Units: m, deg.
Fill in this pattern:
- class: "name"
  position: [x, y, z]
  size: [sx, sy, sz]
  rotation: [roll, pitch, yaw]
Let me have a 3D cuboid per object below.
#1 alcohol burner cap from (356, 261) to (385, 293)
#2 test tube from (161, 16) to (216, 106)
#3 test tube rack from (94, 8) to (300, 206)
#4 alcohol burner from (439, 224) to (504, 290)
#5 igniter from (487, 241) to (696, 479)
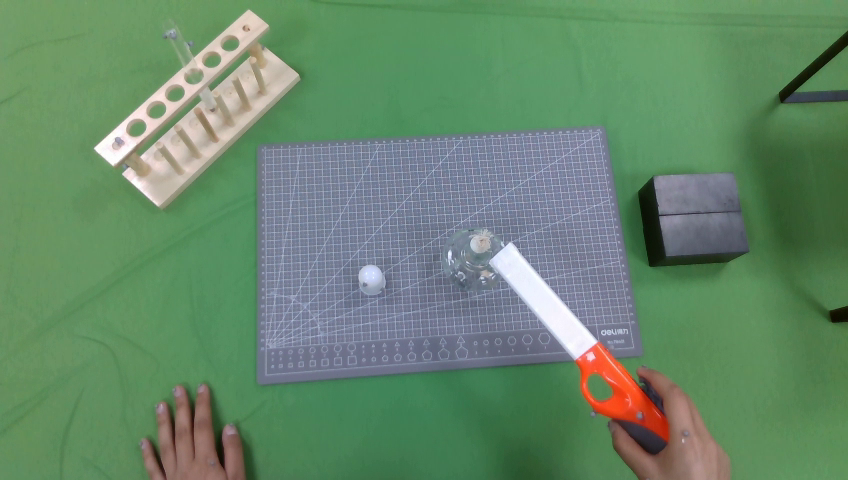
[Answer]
- class: "alcohol burner cap"
  position: [-0.063, 0.042, 0.708]
  size: [0.034, 0.048, 0.033]
  rotation: [0, 73, 0]
- class: "test tube"
  position: [-0.266, -0.199, 0.695]
  size: [0.017, 0.151, 0.017]
  rotation: [1, 69, -1]
- class: "test tube rack"
  position: [-0.265, -0.160, 0.734]
  size: [0.066, 0.085, 0.242]
  rotation: [40, 76, 9]
- class: "alcohol burner"
  position: [0.057, 0.014, 0.683]
  size: [0.078, 0.119, 0.077]
  rotation: [1, 72, -3]
- class: "igniter"
  position: [0.159, 0.114, 0.580]
  size: [0.057, 0.025, 0.275]
  rotation: [-42, 76, 13]
